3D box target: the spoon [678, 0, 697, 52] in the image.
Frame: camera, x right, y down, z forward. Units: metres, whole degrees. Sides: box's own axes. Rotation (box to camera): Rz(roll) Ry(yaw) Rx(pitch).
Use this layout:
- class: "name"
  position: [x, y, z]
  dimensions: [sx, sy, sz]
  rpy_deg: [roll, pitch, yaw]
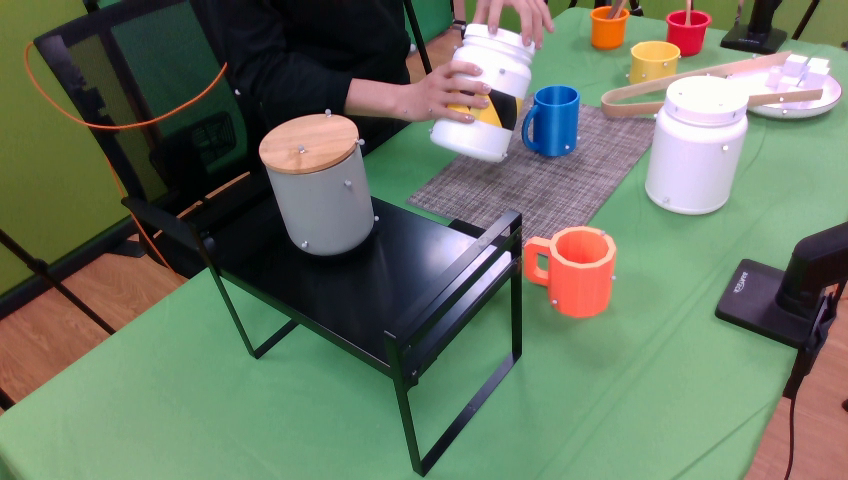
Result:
- class: "spoon"
  position: [0.614, -0.526, 1.402]
  dimensions: [0.041, 0.022, 0.193]
  rpy_deg: [3, 86, 11]

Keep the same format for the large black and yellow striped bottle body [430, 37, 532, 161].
- class: "large black and yellow striped bottle body"
  position: [0.095, -0.231, 0.976]
  dimensions: [0.131, 0.184, 0.130]
  rpy_deg: [16, 13, -3]

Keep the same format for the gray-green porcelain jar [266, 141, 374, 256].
- class: "gray-green porcelain jar"
  position: [-0.117, -0.054, 0.703]
  dimensions: [0.106, 0.127, 0.105]
  rpy_deg: [-4, 40, 4]

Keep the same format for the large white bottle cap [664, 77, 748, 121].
- class: "large white bottle cap"
  position: [0.421, -0.212, 0.905]
  dimensions: [0.115, 0.018, 0.114]
  rpy_deg: [-4, 40, 4]

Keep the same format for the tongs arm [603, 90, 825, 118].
- class: "tongs arm"
  position: [0.546, -0.262, 1.162]
  dimensions: [0.386, 0.028, 0.028]
  rpy_deg: [-1, 49, 18]

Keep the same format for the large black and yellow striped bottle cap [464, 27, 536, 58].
- class: "large black and yellow striped bottle cap"
  position: [0.121, -0.312, 0.955]
  dimensions: [0.115, 0.019, 0.115]
  rpy_deg: [15, 10, -2]

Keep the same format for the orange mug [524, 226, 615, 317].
- class: "orange mug"
  position: [0.201, 0.039, 0.845]
  dimensions: [0.125, 0.101, 0.083]
  rpy_deg: [18, 46, 21]

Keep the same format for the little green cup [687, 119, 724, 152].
- class: "little green cup"
  position: [0.514, -0.191, 1.109]
  dimensions: [0.061, 0.039, 0.061]
  rpy_deg: [-5, 40, 5]

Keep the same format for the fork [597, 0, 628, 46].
- class: "fork"
  position: [0.479, -0.558, 1.455]
  dimensions: [0.028, 0.019, 0.207]
  rpy_deg: [35, 100, 38]

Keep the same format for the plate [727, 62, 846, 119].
- class: "plate"
  position: [0.710, -0.292, 1.197]
  dimensions: [0.207, 0.039, 0.206]
  rpy_deg: [-4, 40, 4]

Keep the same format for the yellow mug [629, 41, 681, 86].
- class: "yellow mug"
  position: [0.495, -0.389, 1.321]
  dimensions: [0.100, 0.064, 0.130]
  rpy_deg: [-14, 40, -7]

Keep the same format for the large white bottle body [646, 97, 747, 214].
- class: "large white bottle body"
  position: [0.430, -0.148, 0.959]
  dimensions: [0.130, 0.185, 0.130]
  rpy_deg: [-4, 41, 4]

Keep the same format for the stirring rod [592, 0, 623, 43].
- class: "stirring rod"
  position: [0.460, -0.557, 1.461]
  dimensions: [0.014, 0.176, 0.006]
  rpy_deg: [35, 11, 22]

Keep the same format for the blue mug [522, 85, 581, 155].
- class: "blue mug"
  position: [0.233, -0.218, 1.127]
  dimensions: [0.117, 0.106, 0.081]
  rpy_deg: [-23, 43, -16]

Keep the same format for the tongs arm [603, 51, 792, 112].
- class: "tongs arm"
  position: [0.552, -0.320, 1.223]
  dimensions: [0.384, 0.027, 0.050]
  rpy_deg: [-10, 44, 7]

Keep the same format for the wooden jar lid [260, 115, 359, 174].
- class: "wooden jar lid"
  position: [-0.124, -0.101, 0.662]
  dimensions: [0.108, 0.021, 0.108]
  rpy_deg: [-4, 41, 4]
